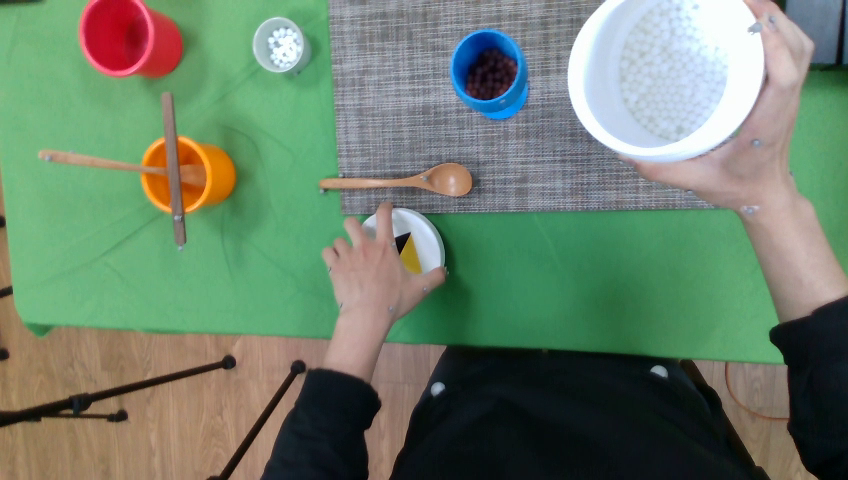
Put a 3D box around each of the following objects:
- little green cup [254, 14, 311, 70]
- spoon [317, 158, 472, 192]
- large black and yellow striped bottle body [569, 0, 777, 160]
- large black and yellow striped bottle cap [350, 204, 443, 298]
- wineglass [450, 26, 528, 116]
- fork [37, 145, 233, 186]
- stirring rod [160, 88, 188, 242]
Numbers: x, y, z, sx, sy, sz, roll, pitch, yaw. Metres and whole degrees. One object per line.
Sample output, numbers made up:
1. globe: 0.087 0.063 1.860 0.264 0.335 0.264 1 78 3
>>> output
1. little green cup: -0.164 -0.231 0.715 0.061 0.038 0.061 2 99 11
2. spoon: -0.038 -0.074 0.719 0.193 0.021 0.042 -1 119 11
3. large black and yellow striped bottle body: 0.194 -0.134 0.468 0.130 0.184 0.131 11 111 30
4. large black and yellow striped bottle cap: -0.034 0.014 0.734 0.114 0.019 0.115 3 101 14
5. wineglass: 0.070 -0.164 0.609 0.073 0.172 0.074 1 97 11
6. fork: -0.330 -0.088 0.710 0.209 0.018 0.028 6 108 -34
7. stirring rod: -0.289 -0.085 0.699 0.014 0.006 0.176 -1 99 12
